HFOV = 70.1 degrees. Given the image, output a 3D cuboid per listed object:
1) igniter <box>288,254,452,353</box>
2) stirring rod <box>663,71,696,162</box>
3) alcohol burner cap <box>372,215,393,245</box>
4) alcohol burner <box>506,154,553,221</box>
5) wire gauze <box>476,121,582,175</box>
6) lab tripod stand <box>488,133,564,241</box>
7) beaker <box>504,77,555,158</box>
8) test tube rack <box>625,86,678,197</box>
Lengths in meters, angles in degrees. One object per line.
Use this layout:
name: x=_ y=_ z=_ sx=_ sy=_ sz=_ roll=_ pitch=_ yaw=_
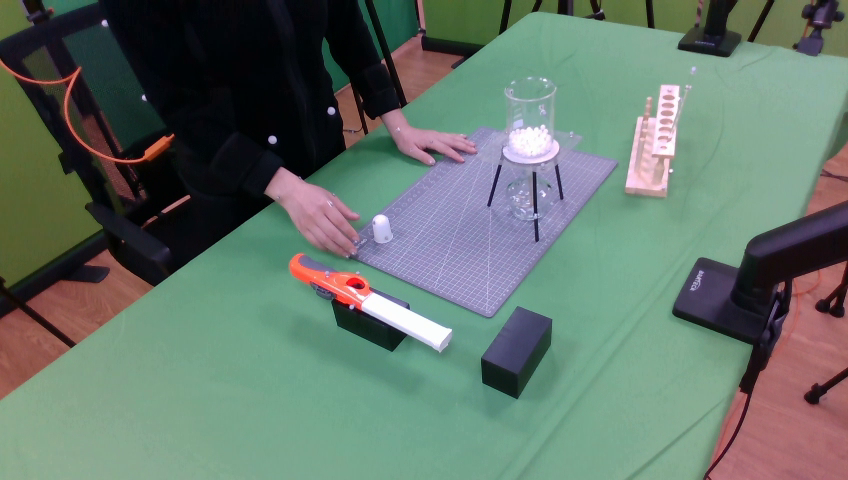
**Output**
igniter: x=-0.084 y=0.079 z=0.818 sx=0.274 sy=0.025 sz=0.057 roll=23 pitch=46 yaw=27
stirring rod: x=0.410 y=-0.195 z=0.981 sx=0.014 sy=0.177 sz=0.006 roll=13 pitch=50 yaw=15
alcohol burner cap: x=-0.070 y=-0.019 z=0.990 sx=0.034 sy=0.048 sz=0.033 roll=-4 pitch=40 yaw=4
alcohol burner: x=0.171 y=-0.090 z=0.984 sx=0.078 sy=0.119 sz=0.077 roll=-5 pitch=42 yaw=5
wire gauze: x=0.162 y=-0.142 z=0.929 sx=0.120 sy=0.011 sz=0.125 roll=19 pitch=49 yaw=32
lab tripod stand: x=0.168 y=-0.093 z=0.972 sx=0.148 sy=0.132 sz=0.147 roll=-5 pitch=41 yaw=5
beaker: x=0.160 y=-0.181 z=0.900 sx=0.084 sy=0.101 sz=0.073 roll=-33 pitch=46 yaw=-27
test tube rack: x=0.412 y=-0.184 z=1.088 sx=0.066 sy=0.085 sz=0.242 roll=9 pitch=43 yaw=18
